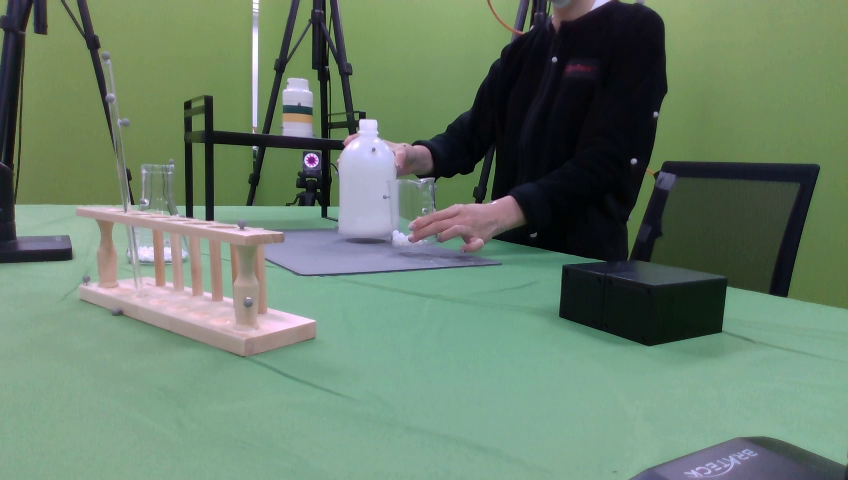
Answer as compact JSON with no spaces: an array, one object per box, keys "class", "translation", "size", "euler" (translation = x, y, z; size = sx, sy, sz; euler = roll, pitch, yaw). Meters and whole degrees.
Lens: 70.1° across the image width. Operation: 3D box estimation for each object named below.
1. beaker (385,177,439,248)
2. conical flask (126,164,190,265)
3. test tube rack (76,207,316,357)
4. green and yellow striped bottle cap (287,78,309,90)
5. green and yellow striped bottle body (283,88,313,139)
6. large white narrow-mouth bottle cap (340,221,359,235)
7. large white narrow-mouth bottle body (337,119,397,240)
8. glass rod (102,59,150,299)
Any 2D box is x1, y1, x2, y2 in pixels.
[{"class":"beaker","translation":[-0.015,-0.040,0.889],"size":[0.074,0.100,0.083],"euler":[-6,5,-18]},{"class":"conical flask","translation":[-0.332,-0.033,0.756],"size":[0.075,0.122,0.075],"euler":[2,7,0]},{"class":"test tube rack","translation":[-0.196,0.023,0.500],"size":[0.241,0.085,0.067],"euler":[8,9,36]},{"class":"green and yellow striped bottle cap","translation":[-0.265,-0.326,1.268],"size":[0.045,0.020,0.045],"euler":[4,7,0]},{"class":"green and yellow striped bottle body","translation":[-0.266,-0.275,1.275],"size":[0.063,0.119,0.063],"euler":[3,7,0]},{"class":"large white narrow-mouth bottle cap","translation":[-0.139,-0.023,1.127],"size":[0.038,0.024,0.037],"euler":[4,8,0]},{"class":"large white narrow-mouth bottle body","translation":[-0.094,-0.103,1.010],"size":[0.102,0.194,0.101],"euler":[2,11,0]},{"class":"glass rod","translation":[-0.243,-0.045,0.496],"size":[0.008,0.199,0.008],"euler":[-4,13,1]}]
